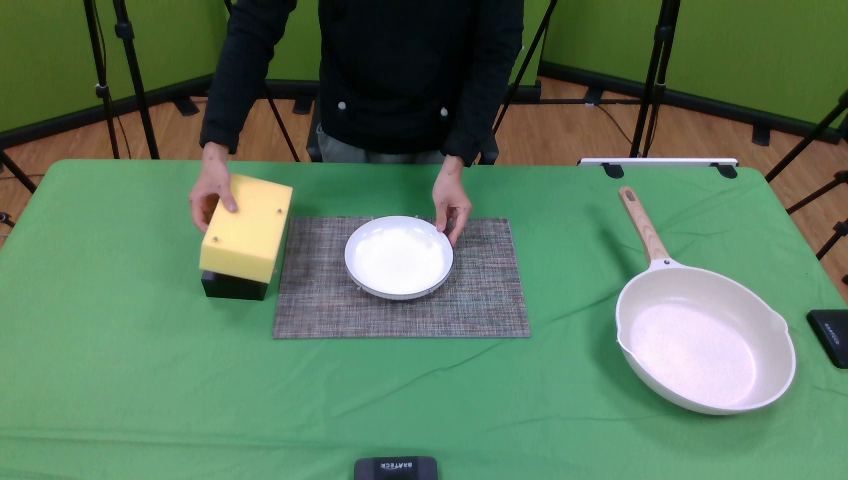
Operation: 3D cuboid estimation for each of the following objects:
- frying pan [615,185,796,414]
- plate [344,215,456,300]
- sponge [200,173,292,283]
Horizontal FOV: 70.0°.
[{"bbox_3d":[0.449,0.087,1.092,0.307,0.103,0.484,-4,55,-10],"label":"frying pan"},{"bbox_3d":[-0.045,0.036,1.146,0.208,0.039,0.206,2,46,-2],"label":"plate"},{"bbox_3d":[-0.316,-0.026,1.092,0.118,0.061,0.205,13,40,-12],"label":"sponge"}]
